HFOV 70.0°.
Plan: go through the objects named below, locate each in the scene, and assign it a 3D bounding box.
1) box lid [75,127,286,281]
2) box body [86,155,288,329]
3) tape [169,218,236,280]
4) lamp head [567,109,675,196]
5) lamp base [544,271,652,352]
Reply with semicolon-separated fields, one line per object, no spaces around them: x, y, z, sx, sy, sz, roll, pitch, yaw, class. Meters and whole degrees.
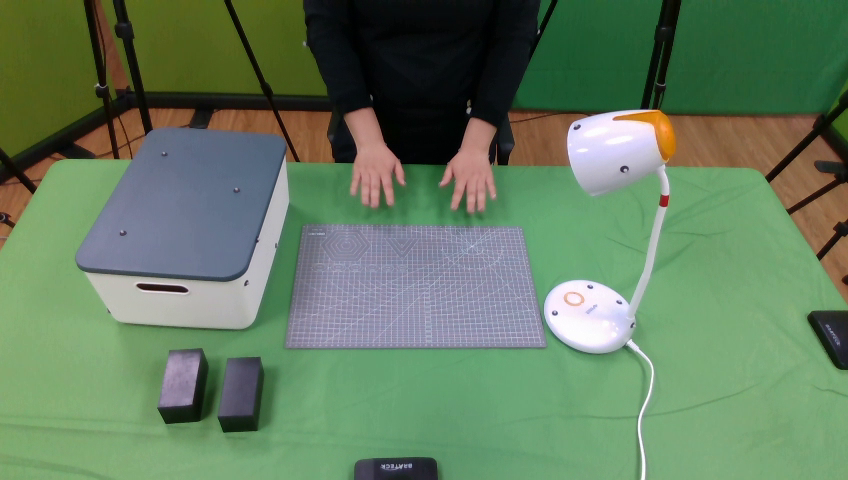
-0.398;-0.075;1.039;0.263;0.015;0.369;4;45;-1;box lid
-0.401;-0.025;1.094;0.254;0.161;0.362;3;46;-1;box body
-0.408;0.015;1.122;0.117;0.053;0.116;2;46;-2;tape
0.272;-0.123;0.818;0.122;0.113;0.112;-9;35;37;lamp head
0.309;0.086;1.029;0.178;0.181;0.160;32;52;21;lamp base
